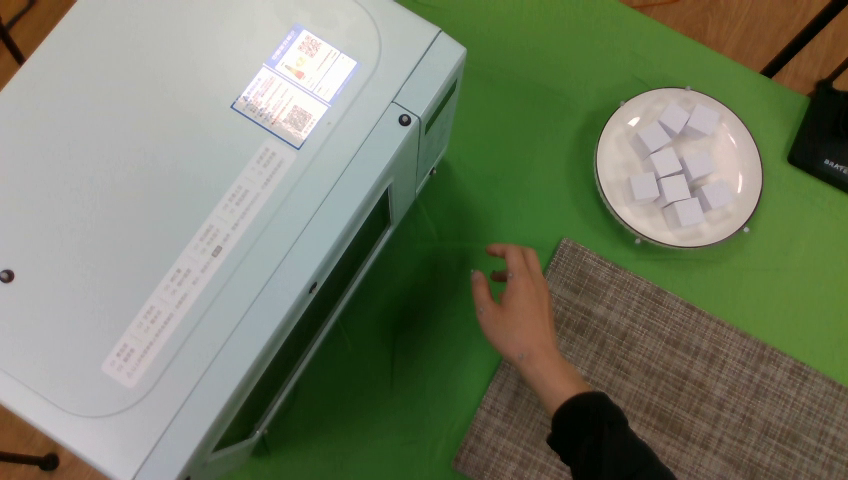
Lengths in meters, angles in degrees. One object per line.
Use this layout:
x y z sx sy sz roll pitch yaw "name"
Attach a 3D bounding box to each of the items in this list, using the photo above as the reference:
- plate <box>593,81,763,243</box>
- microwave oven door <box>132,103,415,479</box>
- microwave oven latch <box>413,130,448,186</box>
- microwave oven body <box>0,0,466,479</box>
0.310 -0.095 0.753 0.208 0.039 0.206 1 79 -3 "plate"
-0.116 0.058 0.579 0.039 0.244 0.355 31 79 5 "microwave oven door"
-0.002 -0.103 0.719 0.030 0.029 0.079 34 80 4 "microwave oven latch"
-0.218 -0.052 0.600 0.325 0.261 0.441 32 80 3 "microwave oven body"
